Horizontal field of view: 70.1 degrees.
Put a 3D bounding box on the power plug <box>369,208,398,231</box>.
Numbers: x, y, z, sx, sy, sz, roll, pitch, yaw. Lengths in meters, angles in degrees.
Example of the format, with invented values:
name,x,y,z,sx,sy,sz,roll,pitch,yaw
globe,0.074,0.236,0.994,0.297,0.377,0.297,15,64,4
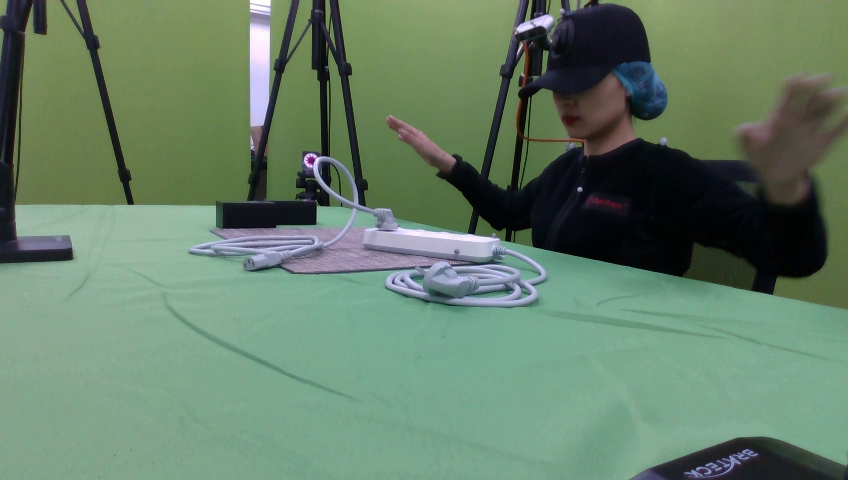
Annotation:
name,x,y,z,sx,sy,sz,roll,pitch,yaw
power plug,-0.069,-0.023,0.915,0.035,0.052,0.073,9,9,39

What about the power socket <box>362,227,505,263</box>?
name,x,y,z,sx,sy,sz,roll,pitch,yaw
power socket,0.009,0.004,0.909,0.226,0.032,0.072,7,9,28
